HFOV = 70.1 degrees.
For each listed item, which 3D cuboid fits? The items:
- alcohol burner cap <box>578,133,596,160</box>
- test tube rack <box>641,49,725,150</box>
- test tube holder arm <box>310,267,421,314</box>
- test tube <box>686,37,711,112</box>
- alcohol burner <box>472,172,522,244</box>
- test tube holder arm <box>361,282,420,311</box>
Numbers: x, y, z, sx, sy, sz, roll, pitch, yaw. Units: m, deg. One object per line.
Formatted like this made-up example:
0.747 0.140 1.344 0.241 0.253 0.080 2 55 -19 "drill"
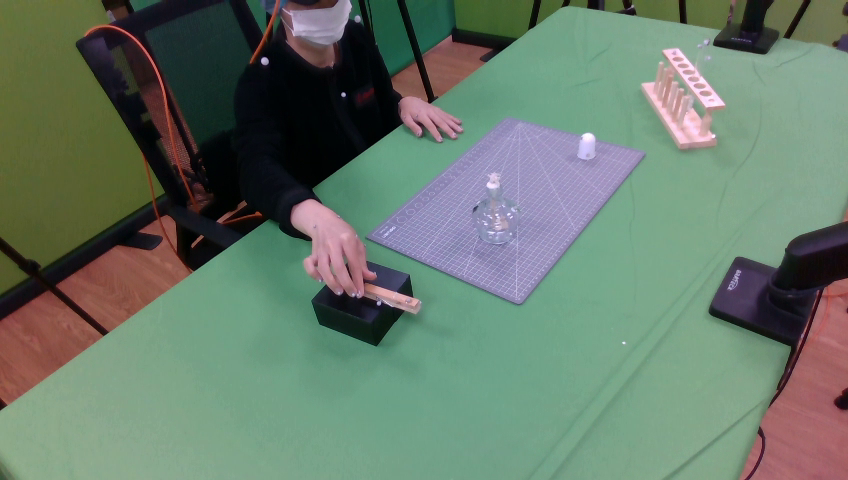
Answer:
0.301 -0.174 1.111 0.034 0.048 0.033 -5 41 4 "alcohol burner cap"
0.495 -0.279 1.175 0.067 0.085 0.241 -5 41 3 "test tube rack"
-0.084 0.068 0.834 0.177 0.013 0.015 16 46 26 "test tube holder arm"
0.509 -0.306 1.128 0.017 0.151 0.017 -3 45 3 "test tube"
0.112 -0.053 0.942 0.078 0.119 0.077 -6 40 5 "alcohol burner"
-0.046 0.075 0.811 0.087 0.010 0.015 16 46 26 "test tube holder arm"
